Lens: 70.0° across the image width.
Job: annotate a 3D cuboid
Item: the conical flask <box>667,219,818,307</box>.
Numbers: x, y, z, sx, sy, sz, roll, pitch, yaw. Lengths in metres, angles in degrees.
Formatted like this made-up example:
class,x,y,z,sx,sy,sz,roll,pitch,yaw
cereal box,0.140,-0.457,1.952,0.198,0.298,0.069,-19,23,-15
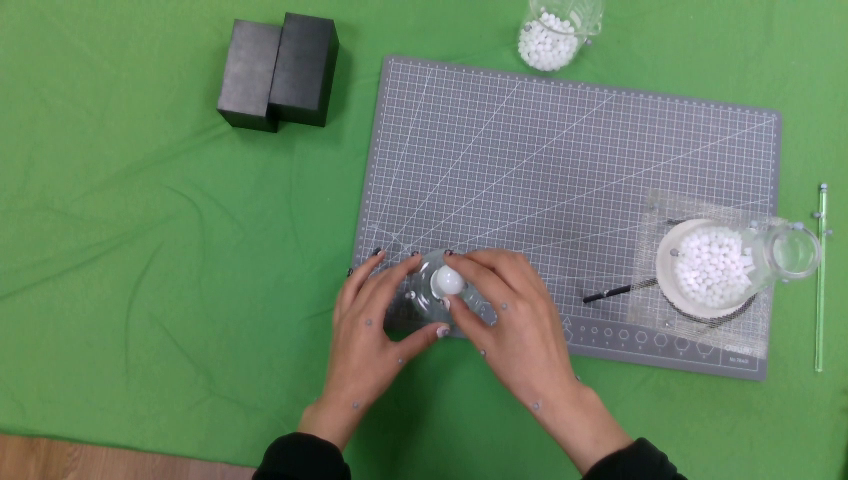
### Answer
class,x,y,z,sx,sy,sz,roll,pitch,yaw
conical flask,0.244,0.013,0.462,0.075,0.122,0.075,0,84,-1

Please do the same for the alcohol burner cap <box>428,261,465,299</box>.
class,x,y,z,sx,sy,sz,roll,pitch,yaw
alcohol burner cap,0.022,0.034,0.541,0.034,0.048,0.033,1,79,-5

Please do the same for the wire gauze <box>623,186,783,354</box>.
class,x,y,z,sx,sy,sz,roll,pitch,yaw
wire gauze,0.239,0.025,0.520,0.125,0.011,0.121,14,85,-1

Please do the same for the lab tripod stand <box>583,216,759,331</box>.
class,x,y,z,sx,sy,sz,roll,pitch,yaw
lab tripod stand,0.240,0.036,0.584,0.148,0.132,0.148,0,83,0

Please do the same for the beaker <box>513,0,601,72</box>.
class,x,y,z,sx,sy,sz,roll,pitch,yaw
beaker,0.137,-0.227,0.639,0.084,0.100,0.074,44,84,4

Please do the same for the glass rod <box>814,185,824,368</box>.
class,x,y,z,sx,sy,sz,roll,pitch,yaw
glass rod,0.426,0.037,0.654,0.008,0.008,0.199,7,81,0

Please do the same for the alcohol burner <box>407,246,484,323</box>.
class,x,y,z,sx,sy,sz,roll,pitch,yaw
alcohol burner,0.021,0.042,0.589,0.078,0.119,0.077,0,83,1
